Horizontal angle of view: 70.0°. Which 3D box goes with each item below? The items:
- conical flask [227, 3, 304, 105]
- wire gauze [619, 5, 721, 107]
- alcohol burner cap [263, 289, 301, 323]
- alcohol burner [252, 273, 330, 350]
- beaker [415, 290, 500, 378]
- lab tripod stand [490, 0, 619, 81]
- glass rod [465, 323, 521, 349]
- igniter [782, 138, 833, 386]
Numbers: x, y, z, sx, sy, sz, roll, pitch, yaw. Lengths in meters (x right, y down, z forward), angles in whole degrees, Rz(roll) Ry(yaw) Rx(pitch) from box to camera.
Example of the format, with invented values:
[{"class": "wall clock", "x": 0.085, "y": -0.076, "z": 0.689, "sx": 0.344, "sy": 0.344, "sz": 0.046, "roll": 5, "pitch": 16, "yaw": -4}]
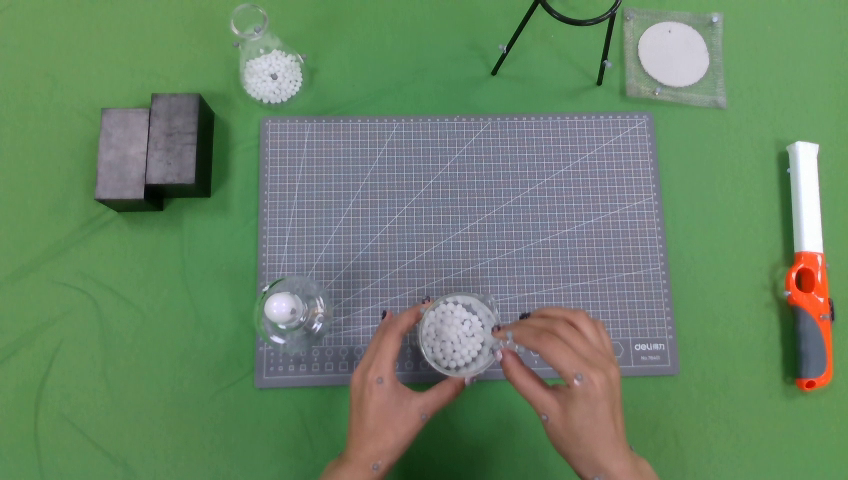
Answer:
[{"class": "conical flask", "x": -0.173, "y": -0.200, "z": 0.639, "sx": 0.075, "sy": 0.122, "sz": 0.075, "roll": 0, "pitch": 78, "yaw": -1}, {"class": "wire gauze", "x": 0.294, "y": -0.222, "z": 0.721, "sx": 0.125, "sy": 0.011, "sz": 0.121, "roll": 5, "pitch": 80, "yaw": -3}, {"class": "alcohol burner cap", "x": -0.132, "y": 0.060, "z": 0.557, "sx": 0.034, "sy": 0.048, "sz": 0.034, "roll": 1, "pitch": 82, "yaw": -6}, {"class": "alcohol burner", "x": -0.133, "y": 0.068, "z": 0.592, "sx": 0.078, "sy": 0.119, "sz": 0.077, "roll": 0, "pitch": 78, "yaw": 0}, {"class": "beaker", "x": 0.029, "y": 0.086, "z": 0.574, "sx": 0.074, "sy": 0.100, "sz": 0.084, "roll": 39, "pitch": 80, "yaw": 3}, {"class": "lab tripod stand", "x": 0.146, "y": -0.239, "z": 0.654, "sx": 0.148, "sy": 0.132, "sz": 0.148, "roll": 0, "pitch": 81, "yaw": -2}, {"class": "glass rod", "x": 0.054, "y": 0.079, "z": 0.516, "sx": 0.008, "sy": 0.199, "sz": 0.008, "roll": 0, "pitch": 86, "yaw": -6}, {"class": "igniter", "x": 0.422, "y": 0.021, "z": 0.670, "sx": 0.057, "sy": 0.025, "sz": 0.275, "roll": 6, "pitch": 79, "yaw": -12}]
